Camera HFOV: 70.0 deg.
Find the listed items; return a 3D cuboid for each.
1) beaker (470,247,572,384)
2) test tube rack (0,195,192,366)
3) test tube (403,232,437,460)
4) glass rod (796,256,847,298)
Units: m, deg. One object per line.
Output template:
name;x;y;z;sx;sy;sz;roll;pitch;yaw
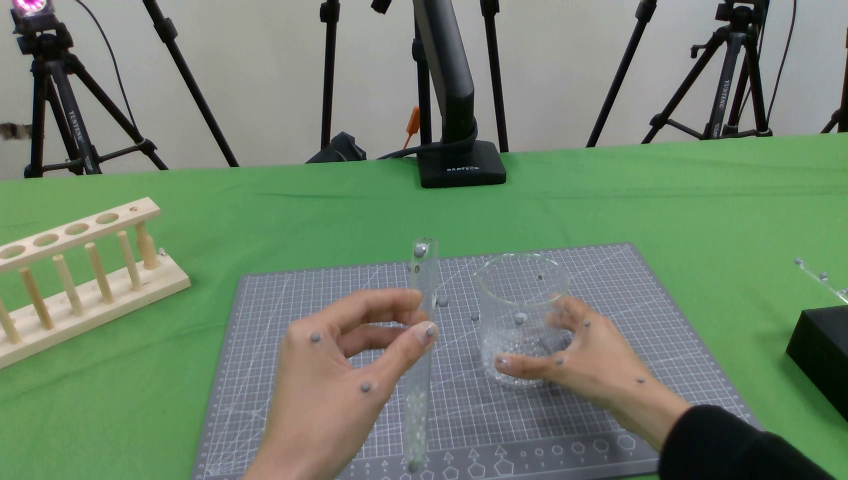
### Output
beaker;0.081;0.068;0.524;0.083;0.101;0.073;8;35;15
test tube rack;-0.366;0.045;0.591;0.242;0.086;0.066;-27;42;-32
test tube;-0.003;0.069;0.370;0.017;0.151;0.017;2;17;0
glass rod;0.388;0.069;0.507;0.008;0.008;0.197;-10;35;-12
